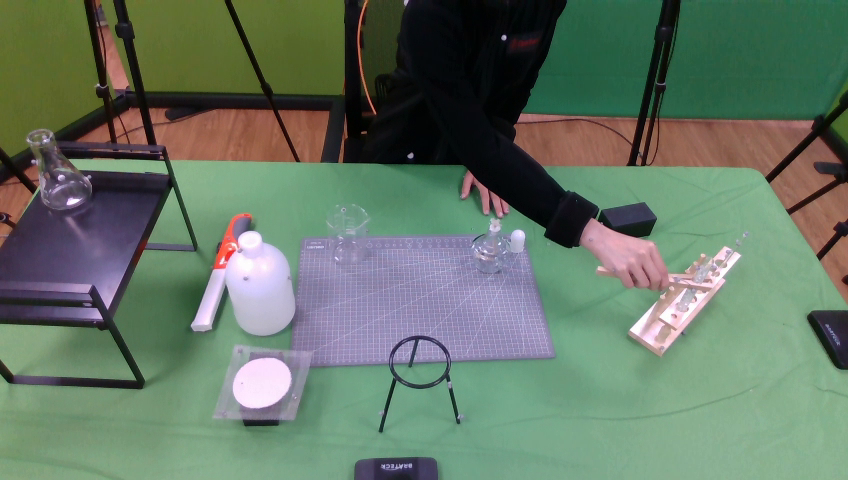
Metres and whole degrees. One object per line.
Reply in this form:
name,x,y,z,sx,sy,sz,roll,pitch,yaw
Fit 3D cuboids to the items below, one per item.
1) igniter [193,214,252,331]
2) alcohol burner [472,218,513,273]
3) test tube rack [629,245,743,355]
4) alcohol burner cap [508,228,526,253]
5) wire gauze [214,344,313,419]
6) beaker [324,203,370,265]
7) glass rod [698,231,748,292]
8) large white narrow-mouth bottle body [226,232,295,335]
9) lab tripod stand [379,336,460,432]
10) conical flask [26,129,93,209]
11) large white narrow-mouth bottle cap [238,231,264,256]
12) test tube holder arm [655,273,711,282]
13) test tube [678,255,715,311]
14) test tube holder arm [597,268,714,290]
igniter,-0.368,0.050,1.119,0.057,0.025,0.275,-3,46,7
alcohol burner,0.128,0.005,1.132,0.078,0.120,0.077,0,47,0
test tube rack,0.474,0.095,1.091,0.242,0.085,0.066,-34,56,-31
alcohol burner cap,0.185,-0.002,1.192,0.034,0.048,0.033,3,43,-3
wire gauze,-0.241,0.213,0.915,0.121,0.011,0.124,5,46,1
beaker,-0.142,-0.009,1.137,0.084,0.101,0.073,-3,47,-7
glass rod,0.514,0.044,1.051,0.008,0.200,0.008,1,55,-1
large white narrow-mouth bottle body,-0.270,0.065,0.995,0.102,0.195,0.101,2,46,-2
lab tripod stand,-0.011,0.214,0.911,0.148,0.132,0.147,1,45,0
conical flask,-0.575,-0.113,0.946,0.075,0.122,0.075,2,46,-2
large white narrow-mouth bottle cap,-0.266,0.006,0.932,0.038,0.024,0.037,2,46,-2
test tube holder arm,0.406,0.059,0.951,0.088,0.015,0.010,0,50,-5
test tube,0.430,0.072,0.960,0.017,0.151,0.017,-2,53,3
test tube holder arm,0.361,0.060,0.945,0.178,0.015,0.013,6,49,0
